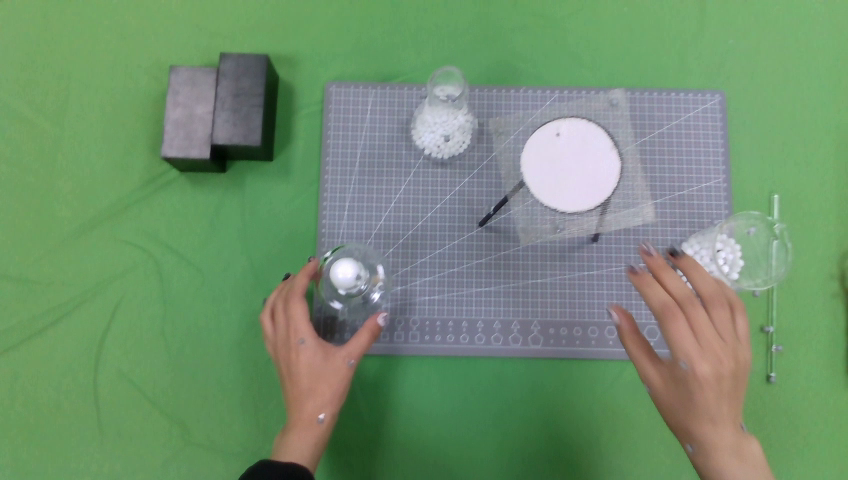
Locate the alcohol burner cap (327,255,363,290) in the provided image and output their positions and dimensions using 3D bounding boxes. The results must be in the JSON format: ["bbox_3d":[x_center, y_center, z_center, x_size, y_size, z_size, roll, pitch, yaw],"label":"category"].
[{"bbox_3d":[-0.073,0.028,0.554,0.034,0.048,0.034,0,84,-4],"label":"alcohol burner cap"}]

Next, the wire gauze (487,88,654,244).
[{"bbox_3d":[0.128,-0.065,0.530,0.125,0.011,0.121,-11,82,-2],"label":"wire gauze"}]

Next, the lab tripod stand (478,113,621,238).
[{"bbox_3d":[0.126,-0.056,0.597,0.148,0.132,0.148,0,82,0],"label":"lab tripod stand"}]

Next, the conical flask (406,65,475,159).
[{"bbox_3d":[0.018,-0.134,0.613,0.075,0.122,0.075,0,80,0],"label":"conical flask"}]

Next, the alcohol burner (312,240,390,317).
[{"bbox_3d":[-0.074,0.035,0.590,0.078,0.119,0.077,0,80,2],"label":"alcohol burner"}]

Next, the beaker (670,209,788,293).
[{"bbox_3d":[0.300,0.014,0.605,0.084,0.100,0.074,-35,83,-7],"label":"beaker"}]

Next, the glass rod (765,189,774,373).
[{"bbox_3d":[0.371,0.041,0.651,0.008,0.008,0.199,5,81,0],"label":"glass rod"}]
